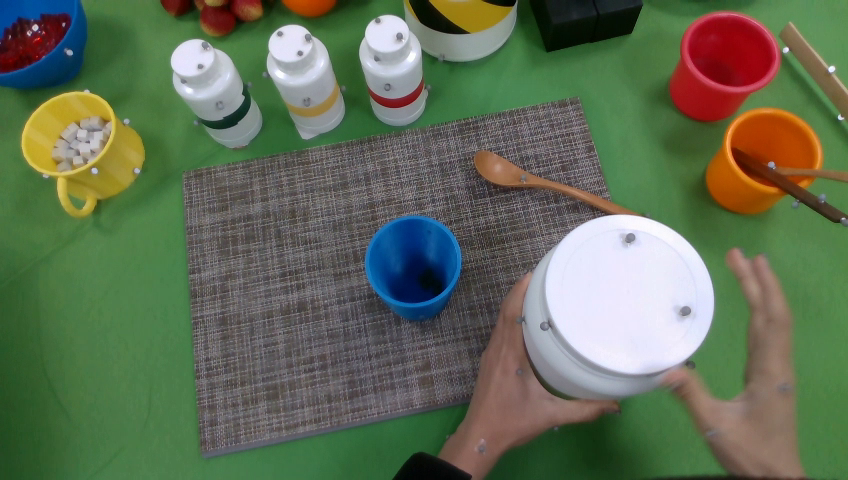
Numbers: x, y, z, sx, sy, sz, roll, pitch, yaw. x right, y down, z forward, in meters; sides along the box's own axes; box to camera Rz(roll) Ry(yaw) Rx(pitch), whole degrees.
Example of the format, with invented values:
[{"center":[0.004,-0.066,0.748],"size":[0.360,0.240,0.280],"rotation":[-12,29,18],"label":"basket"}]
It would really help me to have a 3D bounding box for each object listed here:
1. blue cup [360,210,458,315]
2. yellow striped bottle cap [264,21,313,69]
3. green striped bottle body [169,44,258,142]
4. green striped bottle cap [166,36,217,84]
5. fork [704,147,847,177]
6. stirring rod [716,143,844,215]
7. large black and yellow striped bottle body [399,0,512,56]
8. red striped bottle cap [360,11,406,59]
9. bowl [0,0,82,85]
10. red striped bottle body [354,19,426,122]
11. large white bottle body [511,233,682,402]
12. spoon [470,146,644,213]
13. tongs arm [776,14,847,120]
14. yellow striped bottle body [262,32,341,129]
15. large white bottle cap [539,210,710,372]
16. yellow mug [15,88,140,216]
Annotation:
[{"center":[-0.012,0.030,0.570],"size":[0.092,0.101,0.092],"rotation":[0,71,1],"label":"blue cup"},{"center":[-0.132,-0.190,0.588],"size":[0.044,0.019,0.044],"rotation":[0,73,2],"label":"yellow striped bottle cap"},{"center":[-0.222,-0.158,0.636],"size":[0.063,0.120,0.063],"rotation":[-1,71,3],"label":"green striped bottle body"},{"center":[-0.226,-0.174,0.587],"size":[0.044,0.020,0.044],"rotation":[-1,70,2],"label":"green striped bottle cap"},{"center":[0.358,-0.066,0.563],"size":[0.028,0.019,0.205],"rotation":[-50,32,-12],"label":"fork"},{"center":[0.328,-0.062,0.571],"size":[0.014,0.006,0.174],"rotation":[-9,28,-3],"label":"stirring rod"},{"center":[0.033,-0.299,0.638],"size":[0.131,0.185,0.130],"rotation":[-1,71,3],"label":"large black and yellow striped bottle body"},{"center":[-0.040,-0.199,0.586],"size":[0.044,0.018,0.044],"rotation":[0,69,-1],"label":"red striped bottle cap"},{"center":[-0.456,-0.233,0.694],"size":[0.151,0.077,0.150],"rotation":[0,72,2],"label":"bowl"},{"center":[-0.035,-0.181,0.635],"size":[0.063,0.120,0.062],"rotation":[-2,70,7],"label":"red striped bottle body"},{"center":[0.144,0.062,0.507],"size":[0.130,0.186,0.129],"rotation":[-1,70,3],"label":"large white bottle body"},{"center":[0.139,-0.058,0.634],"size":[0.193,0.022,0.041],"rotation":[19,48,8],"label":"spoon"},{"center":[0.498,-0.090,0.624],"size":[0.051,0.027,0.382],"rotation":[-24,73,-7],"label":"tongs arm"},{"center":[-0.129,-0.173,0.637],"size":[0.063,0.121,0.062],"rotation":[-1,71,4],"label":"yellow striped bottle body"},{"center":[0.138,0.034,0.422],"size":[0.115,0.018,0.114],"rotation":[-1,71,2],"label":"large white bottle cap"},{"center":[-0.370,-0.089,0.648],"size":[0.100,0.064,0.130],"rotation":[-2,72,1],"label":"yellow mug"}]
